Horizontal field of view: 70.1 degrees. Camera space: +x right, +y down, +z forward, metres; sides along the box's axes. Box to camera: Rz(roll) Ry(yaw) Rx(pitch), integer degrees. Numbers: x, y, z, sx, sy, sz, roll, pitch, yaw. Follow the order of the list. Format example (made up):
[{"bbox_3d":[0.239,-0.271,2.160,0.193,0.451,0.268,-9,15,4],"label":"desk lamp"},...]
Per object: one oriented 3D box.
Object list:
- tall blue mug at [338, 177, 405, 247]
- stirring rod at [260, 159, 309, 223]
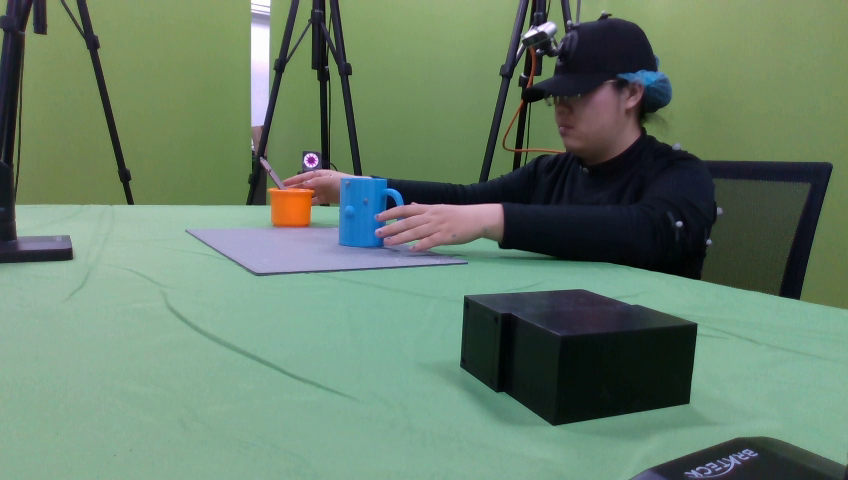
[{"bbox_3d":[-0.083,-0.046,0.977,0.107,0.108,0.078,2,6,-1],"label":"tall blue mug"},{"bbox_3d":[-0.285,-0.101,1.236,0.014,0.006,0.175,-17,64,-50],"label":"stirring rod"}]
